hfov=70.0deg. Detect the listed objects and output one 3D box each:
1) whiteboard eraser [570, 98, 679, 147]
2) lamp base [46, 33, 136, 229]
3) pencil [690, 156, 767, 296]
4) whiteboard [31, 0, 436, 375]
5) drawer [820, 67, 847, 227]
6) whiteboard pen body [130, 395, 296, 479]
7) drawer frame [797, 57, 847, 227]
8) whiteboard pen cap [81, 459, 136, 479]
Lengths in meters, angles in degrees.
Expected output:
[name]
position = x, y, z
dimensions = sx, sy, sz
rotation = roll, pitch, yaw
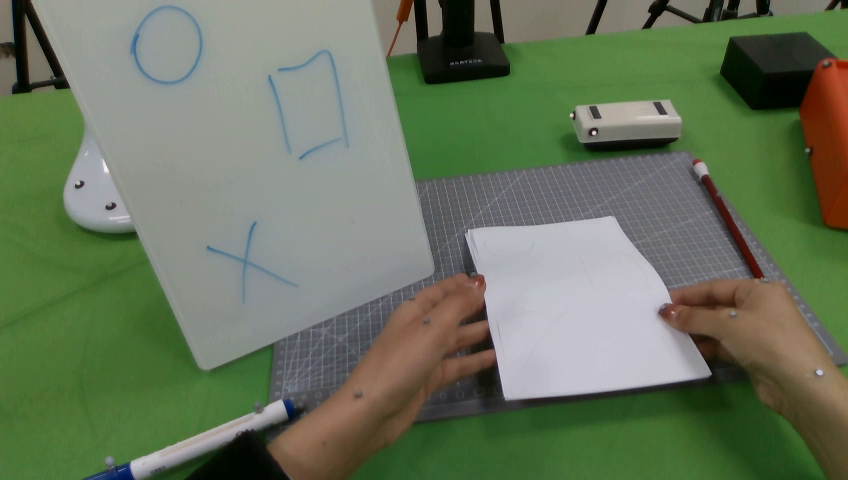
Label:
[whiteboard eraser]
position = 0.229, -0.134, 0.697
dimensions = 0.113, 0.042, 0.055
rotation = -2, 43, 1
[lamp base]
position = -0.328, -0.128, 0.625
dimensions = 0.178, 0.182, 0.160
rotation = 22, 48, 28
[pencil]
position = 0.294, -0.020, 0.588
dimensions = 0.012, 0.012, 0.192
rotation = -3, 45, 2
[whiteboard]
position = -0.143, -0.085, 0.516
dimensions = 0.217, 0.308, 0.142
rotation = -22, 26, -18
[drawer]
position = 0.501, -0.089, 0.600
dimensions = 0.194, 0.074, 0.210
rotation = 10, 44, 16
[whiteboard pen body]
position = -0.161, 0.145, 0.433
dimensions = 0.141, 0.017, 0.017
rotation = -20, 45, -18
[drawer frame]
position = 0.502, -0.093, 0.602
dimensions = 0.201, 0.083, 0.212
rotation = 9, 44, 14
[whiteboard pen cap]
position = -0.214, 0.163, 0.414
dimensions = 0.033, 0.018, 0.018
rotation = -19, 44, -22
